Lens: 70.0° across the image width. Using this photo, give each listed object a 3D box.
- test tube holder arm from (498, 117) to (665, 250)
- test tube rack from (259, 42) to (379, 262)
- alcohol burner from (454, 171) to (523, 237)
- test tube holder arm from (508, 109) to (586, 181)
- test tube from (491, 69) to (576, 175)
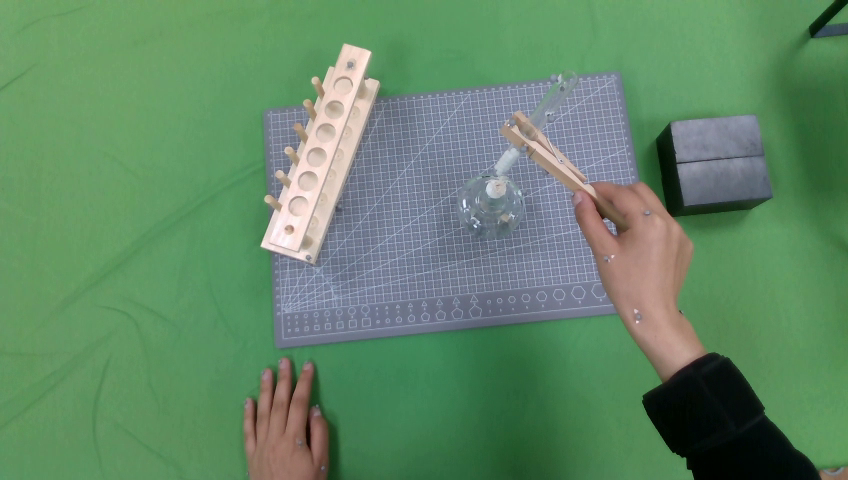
[{"bbox_3d":[0.139,-0.049,0.537,0.178,0.015,0.013,39,63,0],"label":"test tube holder arm"},{"bbox_3d":[-0.127,-0.104,0.704,0.066,0.085,0.241,18,80,6],"label":"test tube rack"},{"bbox_3d":[0.073,-0.045,0.673,0.078,0.119,0.077,0,77,0],"label":"alcohol burner"},{"bbox_3d":[0.109,-0.082,0.541,0.087,0.015,0.010,46,63,4],"label":"test tube holder arm"},{"bbox_3d":[0.091,-0.097,0.532,0.017,0.151,0.017,6,66,-14],"label":"test tube"}]
